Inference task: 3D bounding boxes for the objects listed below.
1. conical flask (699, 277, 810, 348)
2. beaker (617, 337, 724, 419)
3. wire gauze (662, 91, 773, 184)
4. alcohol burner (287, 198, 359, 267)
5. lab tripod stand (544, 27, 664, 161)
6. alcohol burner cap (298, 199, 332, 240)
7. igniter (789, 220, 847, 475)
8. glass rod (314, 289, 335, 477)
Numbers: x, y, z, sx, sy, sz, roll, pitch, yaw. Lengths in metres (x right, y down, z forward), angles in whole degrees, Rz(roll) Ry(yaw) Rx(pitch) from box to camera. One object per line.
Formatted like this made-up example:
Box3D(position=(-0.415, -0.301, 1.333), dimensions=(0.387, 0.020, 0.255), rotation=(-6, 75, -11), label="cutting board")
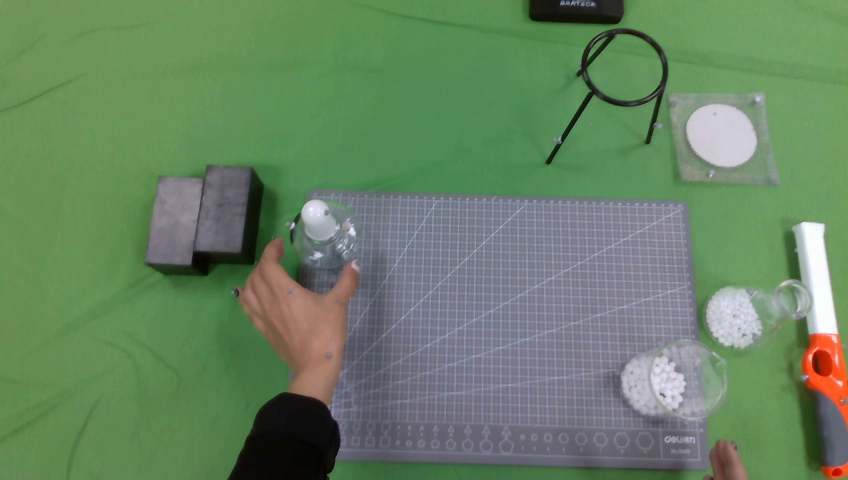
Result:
Box3D(position=(0.345, 0.069, 0.627), dimensions=(0.075, 0.122, 0.075), rotation=(0, 74, 0), label="conical flask")
Box3D(position=(0.246, 0.140, 0.615), dimensions=(0.084, 0.101, 0.073), rotation=(-21, 75, -7), label="beaker")
Box3D(position=(0.360, -0.128, 0.742), dimensions=(0.125, 0.011, 0.121), rotation=(1, 75, -2), label="wire gauze")
Box3D(position=(-0.110, -0.013, 0.645), dimensions=(0.078, 0.120, 0.077), rotation=(0, 75, 2), label="alcohol burner")
Box3D(position=(0.200, -0.159, 0.683), dimensions=(0.148, 0.132, 0.147), rotation=(0, 76, 0), label="lab tripod stand")
Box3D(position=(-0.111, -0.024, 0.611), dimensions=(0.034, 0.048, 0.033), rotation=(1, 67, -2), label="alcohol burner cap")
Box3D(position=(0.436, 0.112, 0.666), dimensions=(0.057, 0.025, 0.275), rotation=(5, 74, -11), label="igniter")
Box3D(position=(-0.106, 0.151, 0.655), dimensions=(0.008, 0.008, 0.199), rotation=(3, 77, 0), label="glass rod")
